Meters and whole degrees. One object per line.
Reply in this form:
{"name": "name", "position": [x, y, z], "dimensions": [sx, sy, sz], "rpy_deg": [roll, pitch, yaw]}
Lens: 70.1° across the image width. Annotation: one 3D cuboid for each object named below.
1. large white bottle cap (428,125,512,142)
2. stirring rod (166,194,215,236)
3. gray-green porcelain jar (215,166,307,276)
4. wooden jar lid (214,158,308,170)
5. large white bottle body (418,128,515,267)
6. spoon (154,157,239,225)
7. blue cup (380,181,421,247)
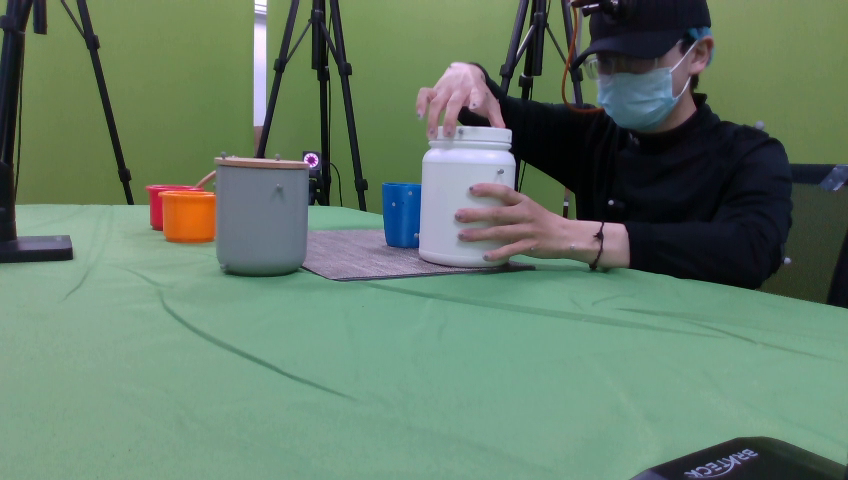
{"name": "large white bottle cap", "position": [0.063, -0.145, 0.831], "dimensions": [0.115, 0.018, 0.115], "rpy_deg": [3, 8, 0]}
{"name": "stirring rod", "position": [-0.341, -0.066, 0.967], "dimensions": [0.176, 0.006, 0.014], "rpy_deg": [-42, 23, -9]}
{"name": "gray-green porcelain jar", "position": [-0.195, -0.024, 0.727], "dimensions": [0.106, 0.126, 0.106], "rpy_deg": [3, 7, 0]}
{"name": "wooden jar lid", "position": [-0.193, -0.085, 0.719], "dimensions": [0.108, 0.020, 0.108], "rpy_deg": [2, 9, 0]}
{"name": "large white bottle body", "position": [0.060, -0.062, 0.842], "dimensions": [0.131, 0.184, 0.130], "rpy_deg": [2, 8, 0]}
{"name": "spoon", "position": [-0.412, -0.092, 1.105], "dimensions": [0.041, 0.022, 0.194], "rpy_deg": [13, 56, 51]}
{"name": "blue cup", "position": [-0.029, -0.042, 0.979], "dimensions": [0.093, 0.100, 0.092], "rpy_deg": [1, 9, 0]}
